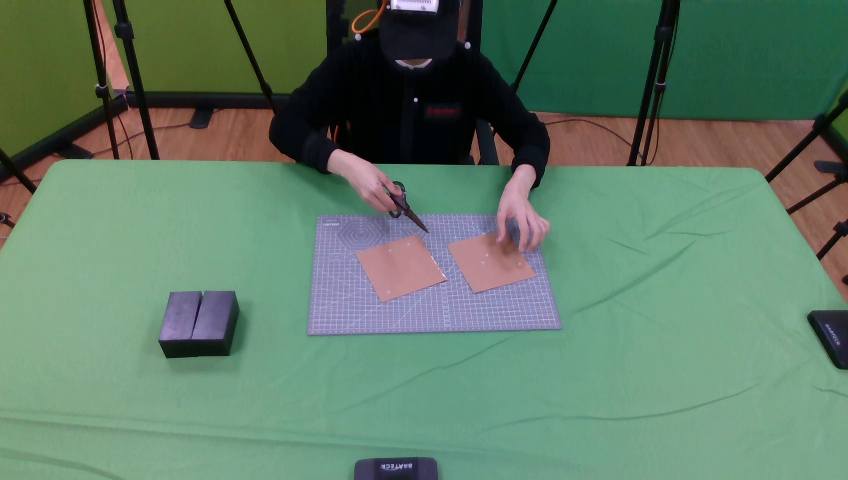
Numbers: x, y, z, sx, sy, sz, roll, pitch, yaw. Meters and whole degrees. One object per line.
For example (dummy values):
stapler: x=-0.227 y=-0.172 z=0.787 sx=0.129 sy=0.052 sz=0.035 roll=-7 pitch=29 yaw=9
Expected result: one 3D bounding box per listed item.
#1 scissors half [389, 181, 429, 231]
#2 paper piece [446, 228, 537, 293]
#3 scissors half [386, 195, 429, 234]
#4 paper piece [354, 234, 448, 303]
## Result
scissors half: x=-0.027 y=-0.063 z=1.165 sx=0.013 sy=0.040 sz=0.174 roll=4 pitch=35 yaw=-34
paper piece: x=0.130 y=0.037 z=1.177 sx=0.136 sy=0.004 sz=0.134 roll=-14 pitch=49 yaw=-16
scissors half: x=-0.033 y=-0.046 z=1.173 sx=0.013 sy=0.040 sz=0.174 roll=-1 pitch=22 yaw=-31
paper piece: x=-0.045 y=0.049 z=1.154 sx=0.138 sy=0.009 sz=0.135 roll=-17 pitch=46 yaw=-18
